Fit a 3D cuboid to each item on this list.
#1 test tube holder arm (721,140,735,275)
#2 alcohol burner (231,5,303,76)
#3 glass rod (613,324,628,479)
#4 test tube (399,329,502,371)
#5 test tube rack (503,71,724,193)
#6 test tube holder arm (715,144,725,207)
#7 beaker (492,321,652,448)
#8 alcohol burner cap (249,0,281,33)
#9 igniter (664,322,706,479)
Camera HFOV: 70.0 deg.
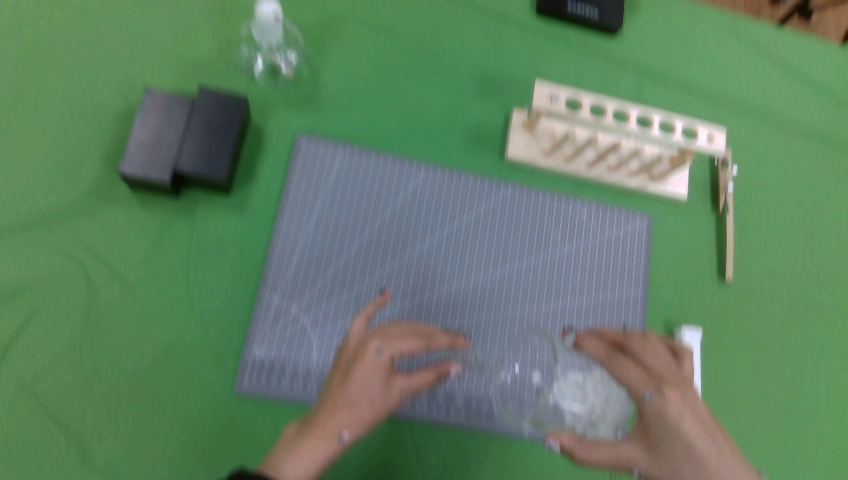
[{"bbox_3d":[0.393,-0.044,0.784,0.013,0.015,0.177,-4,76,24],"label":"test tube holder arm"},{"bbox_3d":[-0.170,-0.230,0.654,0.078,0.119,0.077,3,74,-10],"label":"alcohol burner"},{"bbox_3d":[0.225,0.195,0.697,0.008,0.008,0.198,11,75,-10],"label":"glass rod"},{"bbox_3d":[0.018,0.096,0.538,0.017,0.149,0.017,0,90,-31],"label":"test tube"},{"bbox_3d":[0.227,-0.126,0.733,0.243,0.085,0.066,12,75,-9],"label":"test tube rack"},{"bbox_3d":[0.389,-0.087,0.796,0.010,0.015,0.087,-3,76,24],"label":"test tube holder arm"},{"bbox_3d":[0.111,0.111,0.457,0.101,0.083,0.074,23,80,-21],"label":"beaker"},{"bbox_3d":[-0.162,-0.240,0.621,0.034,0.048,0.033,6,71,-17],"label":"alcohol burner cap"},{"bbox_3d":[0.301,0.233,0.699,0.057,0.025,0.275,11,75,-20],"label":"igniter"}]
